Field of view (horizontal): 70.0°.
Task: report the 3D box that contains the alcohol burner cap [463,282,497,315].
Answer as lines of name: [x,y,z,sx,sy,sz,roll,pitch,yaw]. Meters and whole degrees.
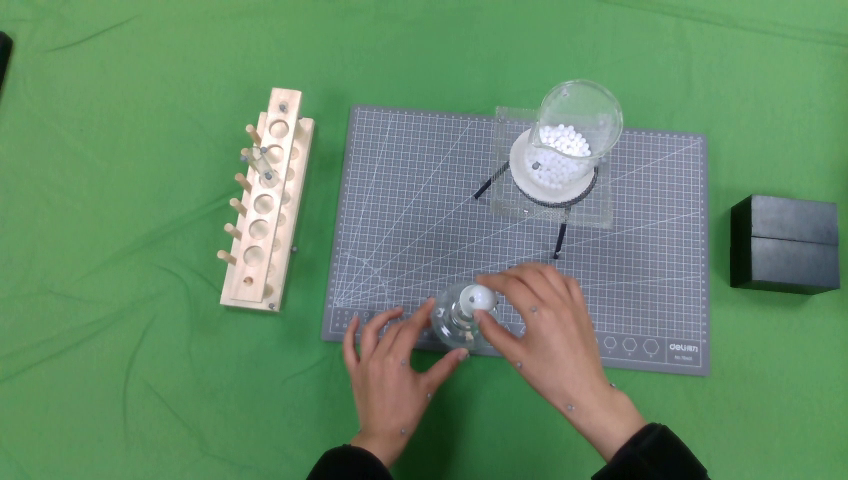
alcohol burner cap: [0.055,0.056,0.577,0.034,0.048,0.034,0,85,0]

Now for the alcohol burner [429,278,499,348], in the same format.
alcohol burner: [0.044,0.076,0.654,0.078,0.119,0.077,1,77,-2]

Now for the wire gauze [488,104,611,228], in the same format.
wire gauze: [0.128,-0.078,0.612,0.125,0.011,0.121,7,77,-2]

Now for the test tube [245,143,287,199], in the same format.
test tube: [-0.167,-0.071,0.651,0.017,0.150,0.017,1,78,-3]

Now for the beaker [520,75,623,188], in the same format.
beaker: [0.130,-0.094,0.567,0.084,0.100,0.073,-28,79,-7]

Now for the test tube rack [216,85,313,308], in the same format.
test tube rack: [-0.188,-0.050,0.696,0.067,0.085,0.241,8,77,1]

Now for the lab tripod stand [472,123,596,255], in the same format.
lab tripod stand: [0.132,-0.066,0.677,0.148,0.132,0.147,0,75,0]
